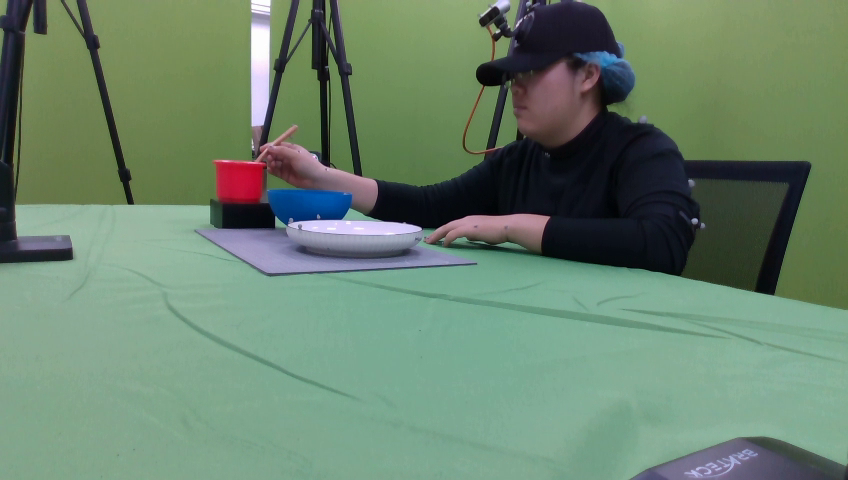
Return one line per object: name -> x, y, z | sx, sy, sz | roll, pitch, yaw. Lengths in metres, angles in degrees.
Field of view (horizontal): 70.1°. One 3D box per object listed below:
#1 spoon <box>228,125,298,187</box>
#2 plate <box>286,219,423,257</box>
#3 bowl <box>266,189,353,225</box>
spoon -> -0.311, -0.167, 1.185 | 0.041, 0.022, 0.194 | 17, 58, 37
plate -> -0.105, -0.004, 0.922 | 0.208, 0.039, 0.207 | 3, 8, 0
bowl -> -0.204, -0.049, 1.079 | 0.151, 0.077, 0.151 | 3, 8, 0
